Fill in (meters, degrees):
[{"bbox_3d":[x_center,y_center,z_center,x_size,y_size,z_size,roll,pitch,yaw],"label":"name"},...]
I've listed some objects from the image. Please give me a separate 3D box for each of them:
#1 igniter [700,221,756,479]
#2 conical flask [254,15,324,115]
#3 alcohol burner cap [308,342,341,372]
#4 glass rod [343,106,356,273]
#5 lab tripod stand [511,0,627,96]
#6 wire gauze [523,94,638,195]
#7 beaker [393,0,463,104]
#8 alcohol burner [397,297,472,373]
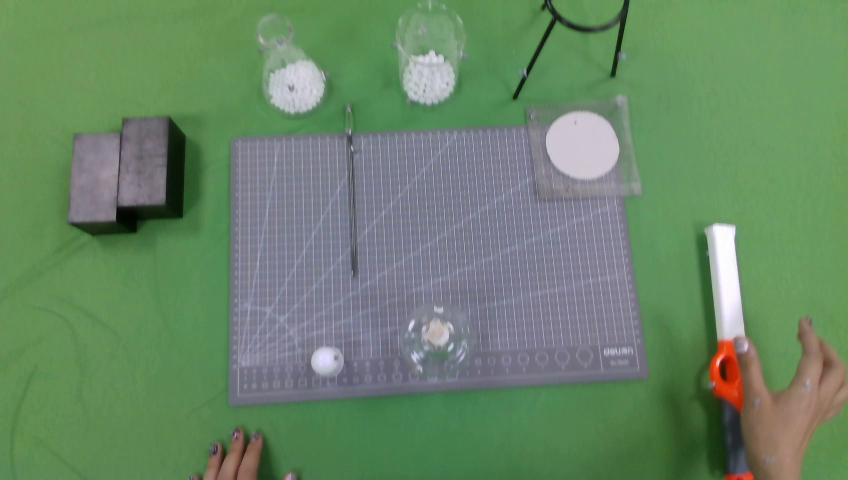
[{"bbox_3d":[0.331,0.114,0.662,0.057,0.025,0.275,4,76,-16],"label":"igniter"},{"bbox_3d":[-0.154,-0.195,0.664,0.075,0.122,0.075,1,76,-2],"label":"conical flask"},{"bbox_3d":[-0.105,0.121,0.632,0.034,0.048,0.033,1,77,-3],"label":"alcohol burner cap"},{"bbox_3d":[-0.085,-0.061,0.690,0.008,0.008,0.198,-4,77,-3],"label":"glass rod"},{"bbox_3d":[0.160,-0.236,0.680,0.148,0.132,0.147,1,79,-2],"label":"lab tripod stand"},{"bbox_3d":[0.185,-0.112,0.715,0.125,0.011,0.121,-4,77,-3],"label":"wire gauze"},{"bbox_3d":[0.003,-0.208,0.685,0.074,0.100,0.083,-1,76,-2],"label":"beaker"},{"bbox_3d":[0.011,0.094,0.606,0.078,0.119,0.077,0,78,-2],"label":"alcohol burner"}]
